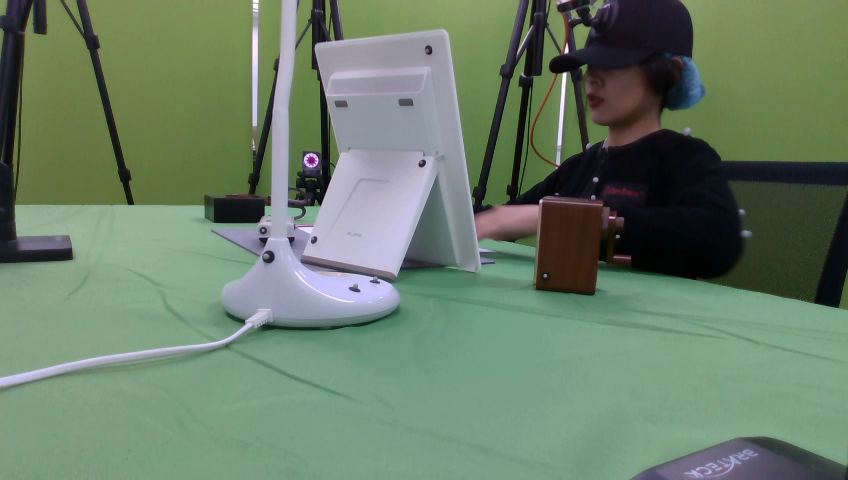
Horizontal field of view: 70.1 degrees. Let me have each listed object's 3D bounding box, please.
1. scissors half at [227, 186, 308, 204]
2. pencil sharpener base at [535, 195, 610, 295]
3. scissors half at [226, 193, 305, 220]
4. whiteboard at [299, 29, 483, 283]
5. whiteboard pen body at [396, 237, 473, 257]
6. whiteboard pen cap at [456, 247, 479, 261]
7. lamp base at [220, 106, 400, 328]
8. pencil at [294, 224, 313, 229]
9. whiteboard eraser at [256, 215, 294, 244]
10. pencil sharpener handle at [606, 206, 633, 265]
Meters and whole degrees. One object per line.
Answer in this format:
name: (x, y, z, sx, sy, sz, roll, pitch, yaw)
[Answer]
scissors half: (-0.336, -0.096, 1.305, 0.176, 0.040, 0.013, -3, 17, -29)
pencil sharpener base: (0.172, 0.005, 0.696, 0.076, 0.107, 0.061, 5, 8, 16)
scissors half: (-0.341, -0.077, 1.310, 0.176, 0.040, 0.012, 17, 11, -33)
whiteboard: (-0.074, -0.082, 0.742, 0.216, 0.305, 0.144, 9, 30, 38)
whiteboard pen body: (0.014, 0.012, 0.886, 0.140, 0.017, 0.017, 10, 10, 38)
whiteboard pen cap: (0.060, 0.020, 0.851, 0.033, 0.018, 0.018, 10, 10, 37)
lamp base: (-0.101, -0.023, 0.531, 0.160, 0.180, 0.179, 4, 10, 10)
pencil: (-0.221, -0.029, 1.211, 0.195, 0.012, 0.012, -5, 10, -34)
whiteboard eraser: (-0.232, -0.016, 0.951, 0.056, 0.042, 0.112, 2, 7, -12)
pencil sharpener handle: (0.223, -0.004, 0.683, 0.030, 0.068, 0.036, 5, 20, 17)
